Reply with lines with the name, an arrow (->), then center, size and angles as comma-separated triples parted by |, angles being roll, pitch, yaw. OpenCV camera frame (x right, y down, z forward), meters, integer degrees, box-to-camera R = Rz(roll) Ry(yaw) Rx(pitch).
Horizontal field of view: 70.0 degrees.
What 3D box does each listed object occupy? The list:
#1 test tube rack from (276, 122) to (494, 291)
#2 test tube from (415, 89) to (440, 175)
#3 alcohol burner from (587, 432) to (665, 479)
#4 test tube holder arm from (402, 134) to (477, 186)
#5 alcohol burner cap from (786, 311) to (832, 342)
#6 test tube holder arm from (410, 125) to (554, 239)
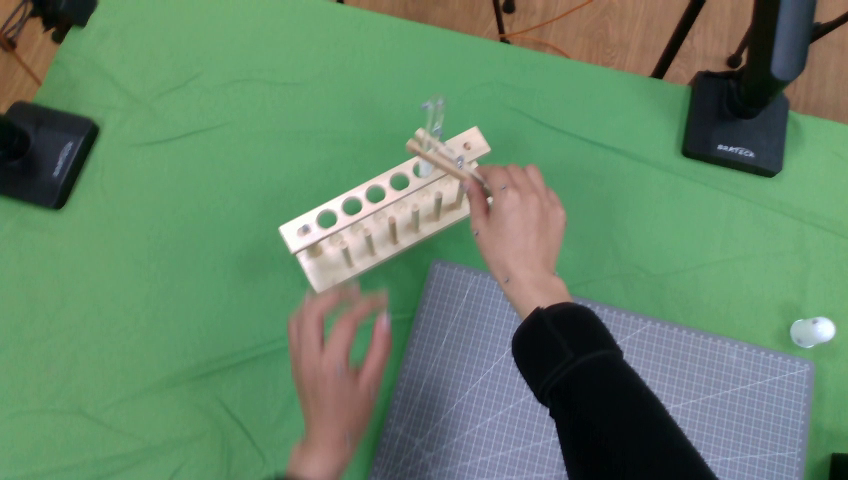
test tube rack -> -0.036, -0.036, 0.687 | 0.242, 0.085, 0.066 | -28, 76, -8
test tube -> 0.002, -0.100, 0.599 | 0.017, 0.151, 0.017 | 1, 69, -3
alcohol burner -> 0.205, 0.229, 0.598 | 0.078, 0.119, 0.077 | 1, 73, -2
test tube holder arm -> 0.016, -0.080, 0.609 | 0.087, 0.015, 0.010 | 30, 73, 9
alcohol burner cap -> 0.434, 0.096, 0.678 | 0.034, 0.048, 0.033 | 0, 74, 0
test tube holder arm -> 0.056, -0.059, 0.603 | 0.177, 0.015, 0.013 | 37, 75, 11
